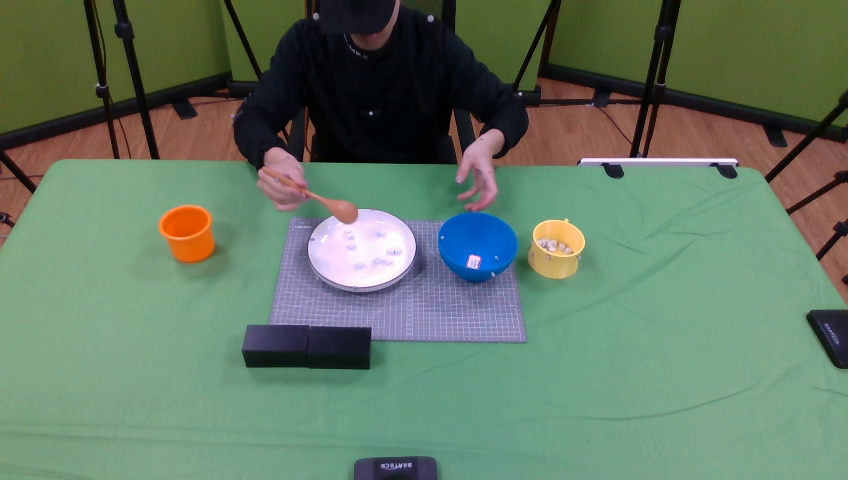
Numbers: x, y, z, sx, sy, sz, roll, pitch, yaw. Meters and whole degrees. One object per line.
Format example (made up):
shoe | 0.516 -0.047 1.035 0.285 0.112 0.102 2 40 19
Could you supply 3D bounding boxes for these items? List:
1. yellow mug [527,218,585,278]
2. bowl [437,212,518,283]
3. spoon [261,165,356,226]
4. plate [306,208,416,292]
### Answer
yellow mug | 0.261 0.006 1.181 0.100 0.064 0.130 18 47 14
bowl | 0.096 0.025 1.138 0.151 0.077 0.150 3 46 -2
spoon | -0.202 -0.079 1.076 0.194 0.021 0.041 29 84 -23
plate | -0.119 0.021 1.153 0.209 0.038 0.208 2 46 -2
